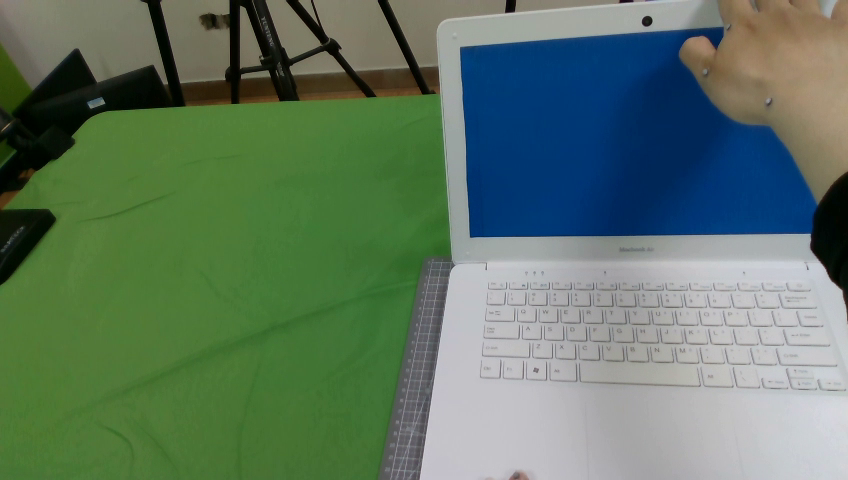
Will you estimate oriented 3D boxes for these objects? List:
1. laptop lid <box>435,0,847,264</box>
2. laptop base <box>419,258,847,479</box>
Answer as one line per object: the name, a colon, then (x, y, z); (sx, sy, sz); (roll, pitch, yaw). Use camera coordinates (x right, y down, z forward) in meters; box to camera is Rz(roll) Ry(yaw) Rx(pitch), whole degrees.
laptop lid: (0.190, -0.085, 0.530); (0.356, 0.243, 0.013); (-2, 19, 12)
laptop base: (0.182, 0.109, 0.489); (0.353, 0.023, 0.233); (-1, 49, 12)
